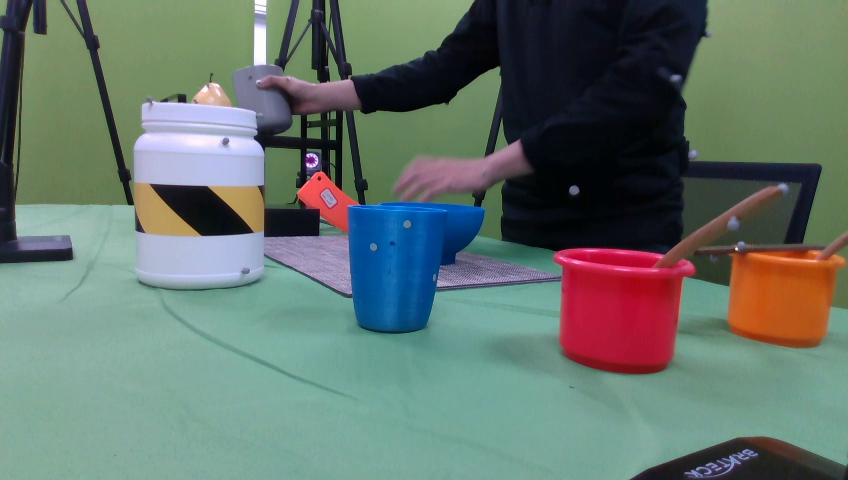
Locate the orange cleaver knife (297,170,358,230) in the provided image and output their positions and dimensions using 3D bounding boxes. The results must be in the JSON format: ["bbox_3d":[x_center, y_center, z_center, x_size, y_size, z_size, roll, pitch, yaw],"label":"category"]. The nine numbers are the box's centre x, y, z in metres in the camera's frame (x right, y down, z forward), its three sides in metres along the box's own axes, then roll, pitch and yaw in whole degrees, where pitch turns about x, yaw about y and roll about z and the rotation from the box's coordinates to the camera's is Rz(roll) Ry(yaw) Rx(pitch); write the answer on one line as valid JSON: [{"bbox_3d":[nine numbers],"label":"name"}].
[{"bbox_3d":[-0.149,-0.058,1.170,0.212,0.077,0.012,33,-15,-32],"label":"orange cleaver knife"}]

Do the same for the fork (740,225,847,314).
[{"bbox_3d":[0.323,0.013,0.485,0.028,0.018,0.207,9,-37,-5],"label":"fork"}]

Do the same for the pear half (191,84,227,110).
[{"bbox_3d":[-0.406,-0.248,1.128,0.070,0.088,0.031,6,7,1],"label":"pear half"}]

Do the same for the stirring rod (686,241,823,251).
[{"bbox_3d":[0.289,0.005,0.525,0.177,0.006,0.014,-1,6,-26],"label":"stirring rod"}]

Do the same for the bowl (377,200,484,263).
[{"bbox_3d":[0.008,-0.012,0.842,0.151,0.077,0.151,2,8,0],"label":"bowl"}]

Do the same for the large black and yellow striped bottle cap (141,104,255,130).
[{"bbox_3d":[-0.241,-0.131,0.650,0.115,0.019,0.115,3,8,0],"label":"large black and yellow striped bottle cap"}]

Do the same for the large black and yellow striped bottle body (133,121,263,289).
[{"bbox_3d":[-0.243,-0.048,0.659,0.131,0.184,0.130,2,7,0],"label":"large black and yellow striped bottle body"}]

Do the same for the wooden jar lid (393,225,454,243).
[{"bbox_3d":[-0.001,-0.011,1.058,0.108,0.020,0.108,7,6,0],"label":"wooden jar lid"}]

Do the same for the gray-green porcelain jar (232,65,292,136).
[{"bbox_3d":[-0.335,-0.287,1.263,0.106,0.126,0.106,-11,3,1],"label":"gray-green porcelain jar"}]

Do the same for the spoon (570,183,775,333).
[{"bbox_3d":[0.160,0.020,0.413,0.042,0.021,0.193,0,-36,-24],"label":"spoon"}]

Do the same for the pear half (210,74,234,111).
[{"bbox_3d":[-0.401,-0.262,1.162,0.076,0.109,0.056,7,7,2],"label":"pear half"}]

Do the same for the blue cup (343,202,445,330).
[{"bbox_3d":[-0.027,0.021,0.510,0.093,0.100,0.092,3,5,0],"label":"blue cup"}]
